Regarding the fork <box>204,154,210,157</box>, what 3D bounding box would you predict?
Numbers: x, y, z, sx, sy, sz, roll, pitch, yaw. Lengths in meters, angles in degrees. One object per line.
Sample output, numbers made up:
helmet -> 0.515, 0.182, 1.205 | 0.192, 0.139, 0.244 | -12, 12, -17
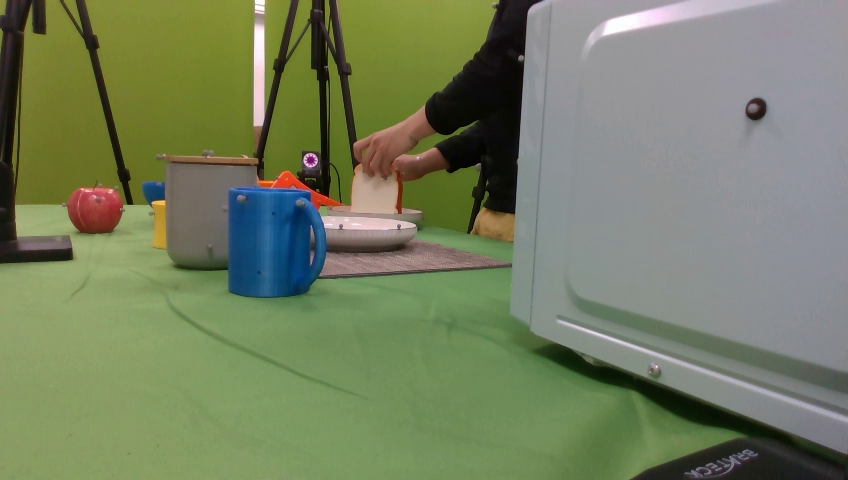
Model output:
fork -> -0.480, -0.136, 1.412 | 0.028, 0.018, 0.207 | 0, -34, -1

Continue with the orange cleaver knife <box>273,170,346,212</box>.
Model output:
orange cleaver knife -> -0.253, -0.089, 1.368 | 0.212, 0.077, 0.012 | 26, -8, -42

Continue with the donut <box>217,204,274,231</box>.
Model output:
donut -> -0.318, -0.038, 1.080 | 0.099, 0.048, 0.099 | 3, 7, 0

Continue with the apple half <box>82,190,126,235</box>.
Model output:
apple half -> -0.516, -0.046, 0.994 | 0.032, 0.081, 0.081 | 0, 6, 26

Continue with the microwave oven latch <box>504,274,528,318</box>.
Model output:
microwave oven latch -> 0.100, 0.041, 0.471 | 0.079, 0.029, 0.030 | -1, 8, -28

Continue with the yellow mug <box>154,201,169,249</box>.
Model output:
yellow mug -> -0.337, -0.022, 0.899 | 0.130, 0.064, 0.100 | 8, 9, 34

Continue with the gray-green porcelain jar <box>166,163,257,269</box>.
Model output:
gray-green porcelain jar -> -0.263, -0.031, 0.754 | 0.106, 0.126, 0.106 | 2, 7, 0

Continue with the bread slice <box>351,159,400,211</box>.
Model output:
bread slice -> -0.102, -0.103, 1.272 | 0.107, 0.134, 0.018 | 0, 6, 8

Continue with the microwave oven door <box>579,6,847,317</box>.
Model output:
microwave oven door -> 0.294, -0.067, 0.570 | 0.358, 0.243, 0.039 | -3, 9, -31

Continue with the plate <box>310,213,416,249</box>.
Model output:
plate -> -0.117, -0.014, 0.967 | 0.208, 0.039, 0.207 | 2, 7, 0

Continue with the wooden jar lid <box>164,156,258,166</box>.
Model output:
wooden jar lid -> -0.261, -0.093, 0.746 | 0.108, 0.020, 0.108 | 1, 9, 0

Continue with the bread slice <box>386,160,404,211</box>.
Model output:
bread slice -> -0.093, -0.110, 1.320 | 0.105, 0.131, 0.019 | 6, 6, 9

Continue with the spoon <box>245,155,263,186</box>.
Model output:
spoon -> -0.421, -0.150, 1.540 | 0.042, 0.021, 0.193 | -5, 55, -37

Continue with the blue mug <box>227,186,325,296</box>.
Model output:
blue mug -> -0.146, 0.000, 0.618 | 0.116, 0.106, 0.083 | 7, 9, 32

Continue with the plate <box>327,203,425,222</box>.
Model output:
plate -> -0.102, -0.053, 1.299 | 0.209, 0.038, 0.209 | 2, 8, 0

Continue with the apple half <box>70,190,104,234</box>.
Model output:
apple half -> -0.552, -0.047, 1.009 | 0.053, 0.074, 0.081 | -1, 9, 26

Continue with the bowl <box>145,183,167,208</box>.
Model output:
bowl -> -0.459, -0.068, 1.175 | 0.151, 0.077, 0.151 | 2, 7, 0

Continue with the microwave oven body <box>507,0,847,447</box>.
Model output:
microwave oven body -> 0.331, -0.042, 0.425 | 0.444, 0.260, 0.324 | -2, 8, -31
